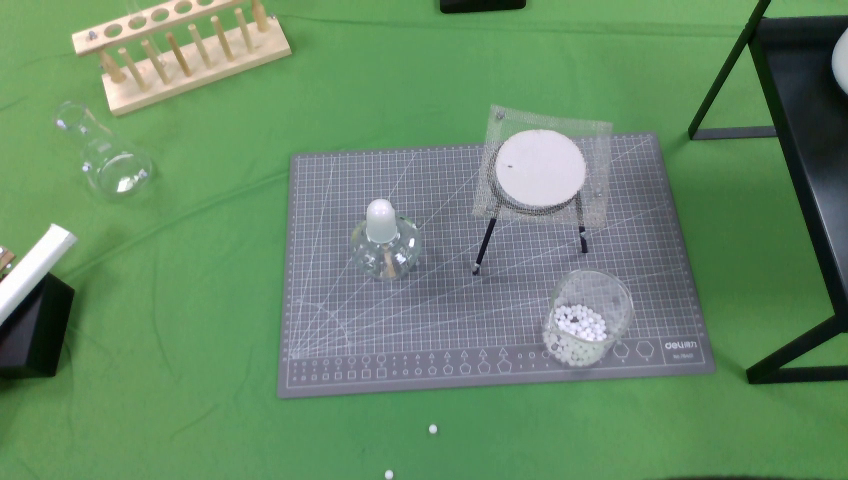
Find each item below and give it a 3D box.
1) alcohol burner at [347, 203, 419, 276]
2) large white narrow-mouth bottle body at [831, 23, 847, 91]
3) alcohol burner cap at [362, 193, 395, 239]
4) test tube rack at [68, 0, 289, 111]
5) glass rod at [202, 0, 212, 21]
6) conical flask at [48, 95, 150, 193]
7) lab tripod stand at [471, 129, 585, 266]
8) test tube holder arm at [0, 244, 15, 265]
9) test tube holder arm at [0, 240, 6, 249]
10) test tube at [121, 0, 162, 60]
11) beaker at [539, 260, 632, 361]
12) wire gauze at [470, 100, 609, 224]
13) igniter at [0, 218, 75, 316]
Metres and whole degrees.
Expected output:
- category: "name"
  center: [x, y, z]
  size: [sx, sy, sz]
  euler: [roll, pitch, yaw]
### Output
- category: "alcohol burner"
  center: [-0.044, -0.009, 0.634]
  size: [0.078, 0.120, 0.077]
  euler: [0, 63, 1]
- category: "large white narrow-mouth bottle body"
  center: [0.412, -0.194, 0.465]
  size: [0.102, 0.196, 0.101]
  euler: [-1, 65, 3]
- category: "alcohol burner cap"
  center: [-0.046, -0.027, 0.602]
  size: [0.034, 0.048, 0.033]
  euler: [2, 57, -2]
- category: "test tube rack"
  center: [-0.307, -0.256, 0.777]
  size: [0.242, 0.086, 0.066]
  euler: [-23, 66, -8]
- category: "glass rod"
  center: [-0.280, -0.323, 0.733]
  size: [0.008, 0.201, 0.008]
  euler: [-2, 57, 3]
- category: "conical flask"
  center: [-0.375, -0.113, 0.692]
  size: [0.075, 0.123, 0.074]
  euler: [-1, 64, 2]
- category: "lab tripod stand"
  center: [0.109, -0.041, 0.633]
  size: [0.148, 0.132, 0.147]
  euler: [0, 64, 1]
- category: "test tube holder arm"
  center: [-0.461, 0.041, 0.626]
  size: [0.010, 0.015, 0.087]
  euler: [41, 70, -13]
- category: "test tube holder arm"
  center: [-0.490, 0.072, 0.609]
  size: [0.013, 0.015, 0.178]
  euler: [40, 70, -13]
- category: "test tube"
  center: [-0.352, -0.279, 0.734]
  size: [0.017, 0.151, 0.017]
  euler: [0, 58, 1]
- category: "beaker"
  center: [0.152, 0.076, 0.595]
  size: [0.084, 0.101, 0.073]
  euler: [-28, 66, -10]
- category: "wire gauze"
  center: [0.112, -0.075, 0.574]
  size: [0.121, 0.011, 0.124]
  euler: [9, 66, 4]
- category: "igniter"
  center: [-0.456, 0.092, 0.600]
  size: [0.057, 0.025, 0.275]
  euler: [23, 67, 22]
